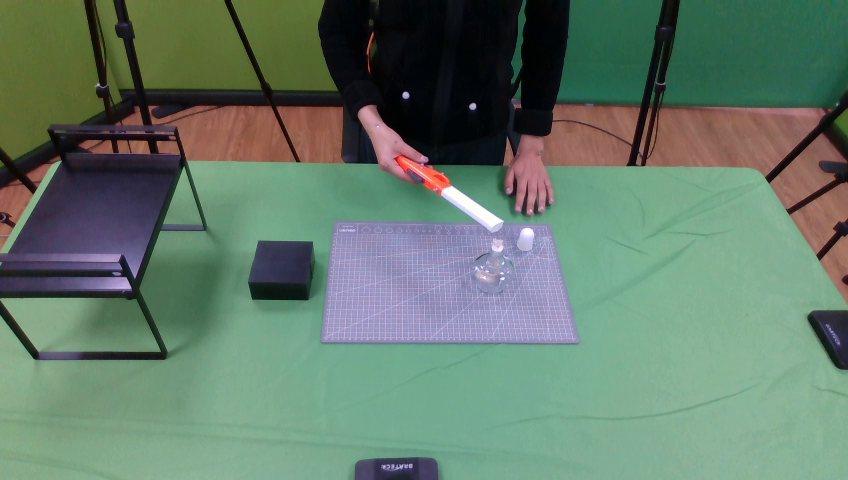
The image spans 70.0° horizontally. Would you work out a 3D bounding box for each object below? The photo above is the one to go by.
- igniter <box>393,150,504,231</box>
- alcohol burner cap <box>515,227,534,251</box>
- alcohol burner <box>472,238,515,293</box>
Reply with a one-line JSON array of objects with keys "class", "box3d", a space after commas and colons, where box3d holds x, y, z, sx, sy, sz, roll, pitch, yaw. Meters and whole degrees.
[{"class": "igniter", "box3d": [0.035, -0.097, 1.109, 0.057, 0.025, 0.275, -23, 48, -39]}, {"class": "alcohol burner cap", "box3d": [0.201, -0.006, 1.201, 0.034, 0.048, 0.033, 4, 45, -4]}, {"class": "alcohol burner", "box3d": [0.128, 0.041, 1.102, 0.078, 0.120, 0.077, 0, 47, 0]}]
